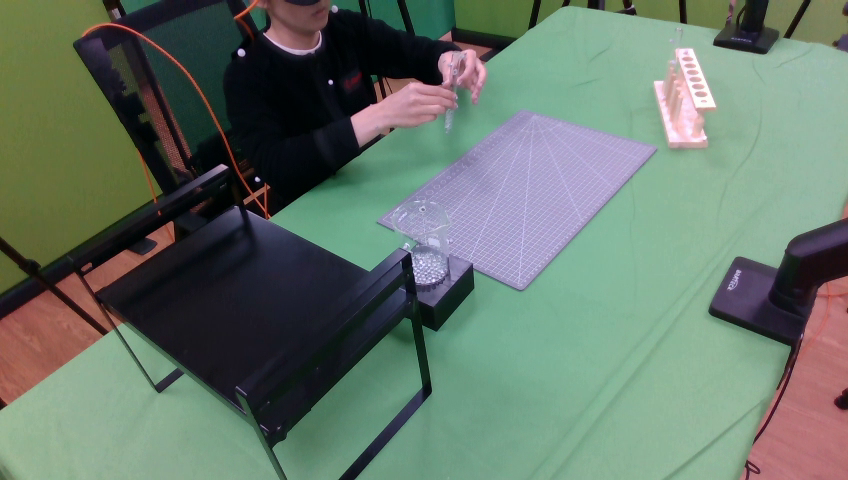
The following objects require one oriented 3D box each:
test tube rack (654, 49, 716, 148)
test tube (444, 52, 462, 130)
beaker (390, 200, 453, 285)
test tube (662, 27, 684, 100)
[{"bbox_3d":[0.502,-0.281,1.176,0.066,0.085,0.241,2,42,11],"label":"test tube rack"},{"bbox_3d":[0.051,-0.265,1.087,0.017,0.150,0.017,4,42,-3],"label":"test tube"},{"bbox_3d":[0.002,0.006,0.831,0.084,0.101,0.074,5,42,13],"label":"beaker"},{"bbox_3d":[0.486,-0.342,1.181,0.017,0.151,0.017,-3,42,3],"label":"test tube"}]
